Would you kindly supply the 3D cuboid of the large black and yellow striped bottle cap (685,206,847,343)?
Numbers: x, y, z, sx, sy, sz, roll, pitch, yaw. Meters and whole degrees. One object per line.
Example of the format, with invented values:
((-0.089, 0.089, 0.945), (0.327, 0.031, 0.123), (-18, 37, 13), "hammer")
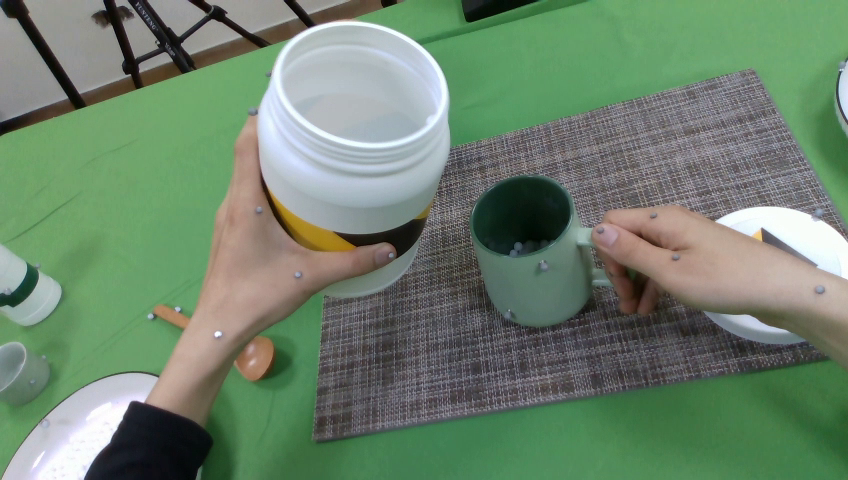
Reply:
((0.262, 0.024, 0.463), (0.115, 0.019, 0.114), (-12, 51, 15), "large black and yellow striped bottle cap")

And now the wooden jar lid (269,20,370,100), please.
((-0.101, -0.177, 0.602), (0.108, 0.021, 0.107), (-13, 50, 16), "wooden jar lid")

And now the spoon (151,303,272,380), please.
((-0.216, 0.092, 0.601), (0.192, 0.022, 0.041), (17, 78, 30), "spoon")

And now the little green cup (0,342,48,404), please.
((-0.433, 0.142, 0.639), (0.061, 0.039, 0.061), (-11, 51, 14), "little green cup")

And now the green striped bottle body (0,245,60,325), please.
((-0.478, 0.042, 0.676), (0.063, 0.120, 0.062), (-11, 52, 15), "green striped bottle body")

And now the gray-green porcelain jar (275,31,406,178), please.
((-0.082, -0.138, 0.648), (0.105, 0.128, 0.105), (-11, 48, 13), "gray-green porcelain jar")

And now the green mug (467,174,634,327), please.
((0.100, 0.011, 0.478), (0.124, 0.106, 0.092), (5, 57, 24), "green mug")

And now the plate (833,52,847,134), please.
((0.445, -0.111, 0.481), (0.207, 0.039, 0.205), (-11, 52, 15), "plate")

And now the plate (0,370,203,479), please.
((-0.281, 0.216, 0.526), (0.209, 0.038, 0.207), (-10, 52, 14), "plate")

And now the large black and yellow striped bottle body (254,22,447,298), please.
((-0.056, -0.052, 0.450), (0.131, 0.185, 0.129), (6, 58, -9), "large black and yellow striped bottle body")
